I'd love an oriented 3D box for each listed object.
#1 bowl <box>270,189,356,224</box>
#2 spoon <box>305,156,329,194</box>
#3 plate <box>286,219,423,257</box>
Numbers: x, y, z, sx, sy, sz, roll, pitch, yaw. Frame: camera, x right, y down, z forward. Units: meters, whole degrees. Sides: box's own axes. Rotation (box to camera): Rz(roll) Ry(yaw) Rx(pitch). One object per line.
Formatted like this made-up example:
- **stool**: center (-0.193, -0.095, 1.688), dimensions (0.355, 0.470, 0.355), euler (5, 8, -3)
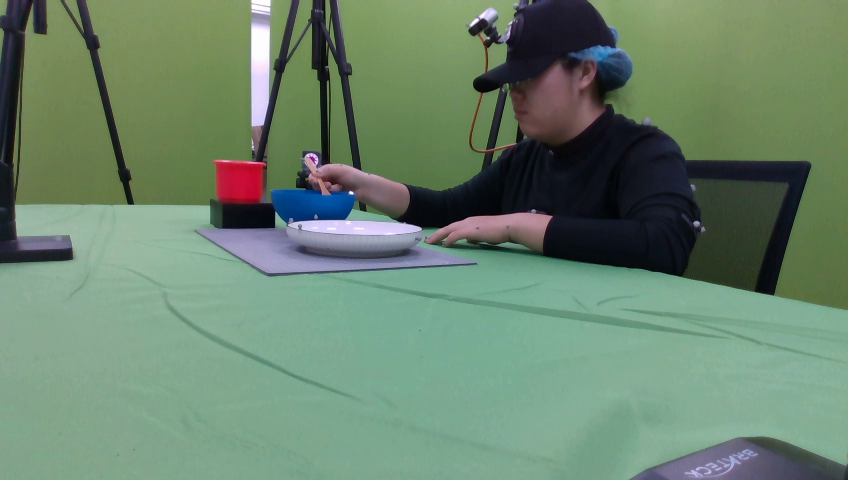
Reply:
- **bowl**: center (-0.199, -0.049, 1.080), dimensions (0.151, 0.077, 0.151), euler (3, 8, 0)
- **spoon**: center (-0.193, -0.104, 1.131), dimensions (0.042, 0.021, 0.193), euler (-18, 50, -14)
- **plate**: center (-0.105, -0.004, 0.922), dimensions (0.208, 0.039, 0.207), euler (3, 8, 0)
